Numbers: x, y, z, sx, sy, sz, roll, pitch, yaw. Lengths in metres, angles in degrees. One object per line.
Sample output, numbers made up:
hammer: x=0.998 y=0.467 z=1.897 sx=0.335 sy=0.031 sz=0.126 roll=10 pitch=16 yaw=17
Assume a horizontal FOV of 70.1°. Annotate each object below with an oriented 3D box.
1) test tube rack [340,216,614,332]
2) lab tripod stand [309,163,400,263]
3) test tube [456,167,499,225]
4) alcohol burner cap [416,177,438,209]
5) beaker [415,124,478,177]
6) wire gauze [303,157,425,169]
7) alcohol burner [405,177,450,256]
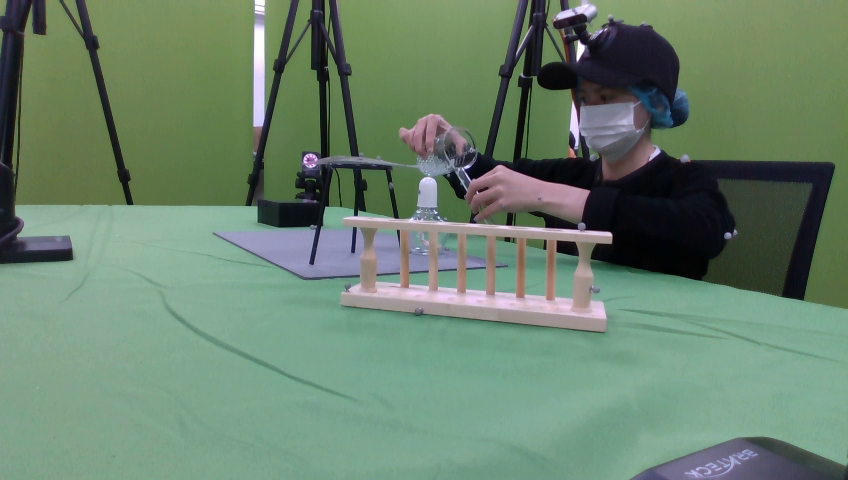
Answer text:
test tube rack: x=0.048 y=0.026 z=0.568 sx=0.242 sy=0.085 sz=0.067 roll=4 pitch=8 yaw=13
lab tripod stand: x=-0.091 y=-0.037 z=0.813 sx=0.148 sy=0.131 sz=0.148 roll=1 pitch=6 yaw=0
test tube: x=0.087 y=-0.067 z=0.980 sx=0.017 sy=0.017 sz=0.149 roll=-2 pitch=45 yaw=-28
alcohol burner cap: x=0.005 y=-0.072 z=0.914 sx=0.034 sy=0.048 sz=0.034 roll=3 pitch=9 yaw=0
beaker: x=0.037 y=-0.151 z=1.069 sx=0.074 sy=0.084 sz=0.100 roll=7 pitch=-10 yaw=-32
wire gauze: x=-0.082 y=-0.102 z=0.799 sx=0.126 sy=0.011 sz=0.121 roll=-1 pitch=7 yaw=-30
alcohol burner: x=0.004 y=-0.036 z=0.917 sx=0.078 sy=0.119 sz=0.078 roll=3 pitch=6 yaw=0
